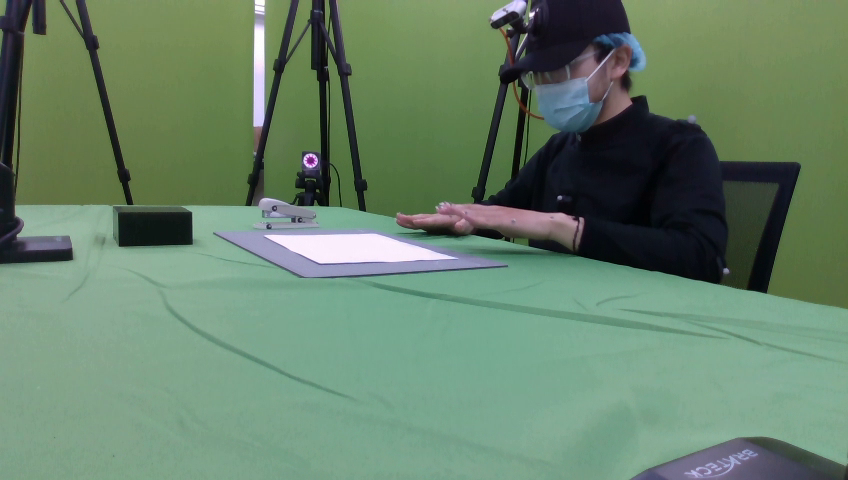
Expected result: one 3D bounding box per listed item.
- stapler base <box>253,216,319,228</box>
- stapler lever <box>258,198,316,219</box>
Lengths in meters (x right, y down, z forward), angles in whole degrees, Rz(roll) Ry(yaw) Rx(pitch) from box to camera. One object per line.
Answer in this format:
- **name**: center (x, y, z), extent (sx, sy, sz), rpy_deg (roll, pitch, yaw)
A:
- **stapler base**: center (-0.274, -0.037, 1.203), extent (0.131, 0.024, 0.041), rpy_deg (-1, 11, -40)
- **stapler lever**: center (-0.271, -0.062, 1.201), extent (0.119, 0.040, 0.026), rpy_deg (-1, 11, -40)
